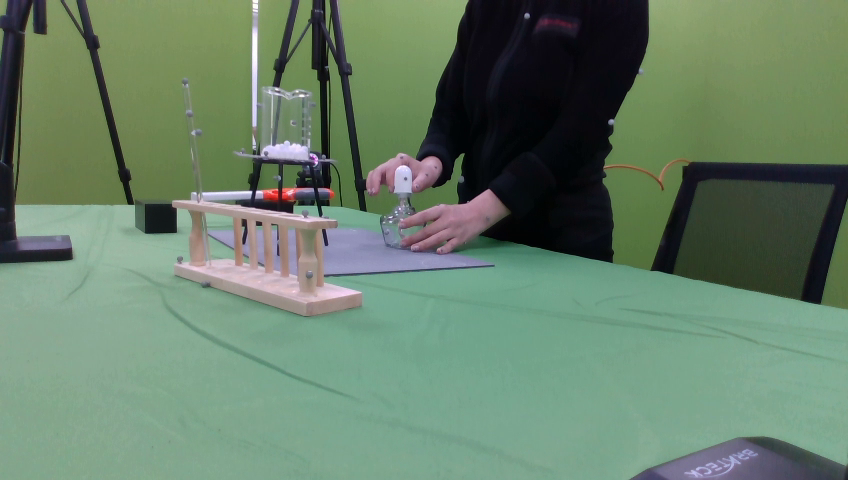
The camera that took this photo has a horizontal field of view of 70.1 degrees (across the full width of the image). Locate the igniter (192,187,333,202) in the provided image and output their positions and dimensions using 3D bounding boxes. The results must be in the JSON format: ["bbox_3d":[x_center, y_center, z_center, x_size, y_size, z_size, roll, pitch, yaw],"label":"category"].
[{"bbox_3d":[-0.316,-0.090,1.214,0.278,0.025,0.057,-5,12,-31],"label":"igniter"}]

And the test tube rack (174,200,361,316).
[{"bbox_3d":[-0.169,0.009,0.622,0.241,0.085,0.067,9,9,41],"label":"test tube rack"}]

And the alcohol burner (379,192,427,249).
[{"bbox_3d":[-0.034,-0.046,0.974,0.078,0.119,0.078,2,6,0],"label":"alcohol burner"}]

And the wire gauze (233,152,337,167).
[{"bbox_3d":[-0.205,-0.119,0.887,0.122,0.011,0.124,2,4,-32],"label":"wire gauze"}]

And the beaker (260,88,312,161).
[{"bbox_3d":[-0.201,-0.166,0.876,0.074,0.100,0.083,1,7,-18],"label":"beaker"}]

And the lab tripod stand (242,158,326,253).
[{"bbox_3d":[-0.207,-0.054,0.895,0.148,0.131,0.148,3,5,0],"label":"lab tripod stand"}]

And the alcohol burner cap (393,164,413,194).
[{"bbox_3d":[-0.035,-0.098,0.969,0.034,0.048,0.034,-2,2,0],"label":"alcohol burner cap"}]

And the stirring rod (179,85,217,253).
[{"bbox_3d":[-0.236,-0.073,0.634,0.006,0.176,0.014,0,10,42],"label":"stirring rod"}]
